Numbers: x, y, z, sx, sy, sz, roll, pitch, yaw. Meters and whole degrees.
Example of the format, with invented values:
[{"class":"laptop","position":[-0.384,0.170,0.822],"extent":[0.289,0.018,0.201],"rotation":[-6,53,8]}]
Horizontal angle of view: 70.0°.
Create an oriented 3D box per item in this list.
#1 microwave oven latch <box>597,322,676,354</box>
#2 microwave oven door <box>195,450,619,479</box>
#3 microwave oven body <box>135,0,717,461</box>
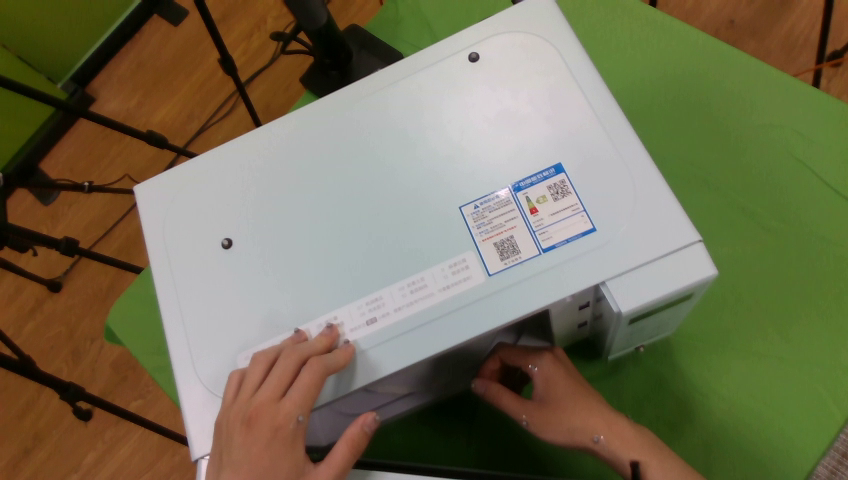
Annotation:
[{"class":"microwave oven latch","position":[0.228,0.095,0.652],"extent":[0.079,0.030,0.030],"rotation":[-23,68,5]},{"class":"microwave oven door","position":[0.015,0.223,0.547],"extent":[0.355,0.246,0.039],"rotation":[0,71,13]},{"class":"microwave oven body","position":[-0.007,0.011,0.631],"extent":[0.441,0.262,0.323],"rotation":[-25,68,5]}]
